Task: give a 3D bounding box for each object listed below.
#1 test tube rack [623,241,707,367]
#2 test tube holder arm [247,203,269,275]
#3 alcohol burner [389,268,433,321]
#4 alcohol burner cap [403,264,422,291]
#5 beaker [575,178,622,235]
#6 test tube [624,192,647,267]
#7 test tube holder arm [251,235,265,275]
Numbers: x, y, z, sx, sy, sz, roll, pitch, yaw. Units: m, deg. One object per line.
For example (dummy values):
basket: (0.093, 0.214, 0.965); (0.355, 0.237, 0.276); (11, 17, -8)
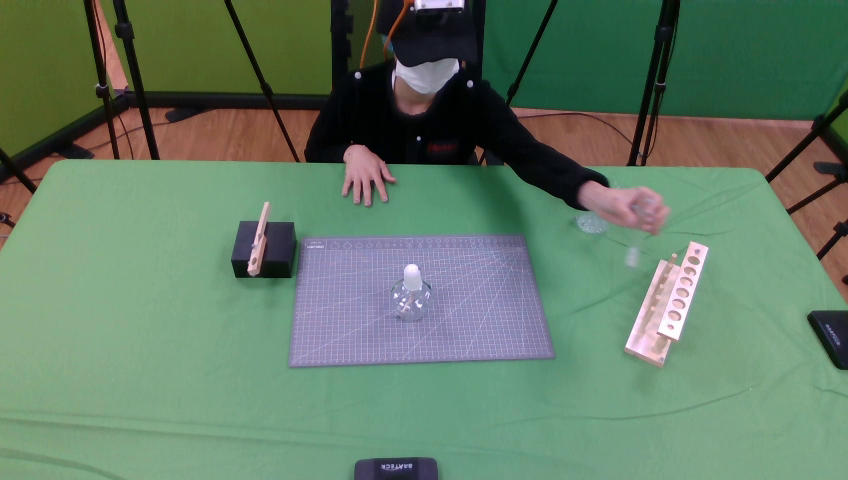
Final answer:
test tube rack: (0.435, 0.104, 1.089); (0.066, 0.085, 0.242); (24, 49, 19)
test tube holder arm: (-0.304, -0.006, 1.116); (0.013, 0.015, 0.177); (-5, 45, 2)
alcohol burner: (-0.022, 0.086, 1.046); (0.078, 0.119, 0.077); (2, 48, -2)
alcohol burner cap: (-0.021, 0.060, 1.021); (0.034, 0.048, 0.033); (-2, 47, 2)
beaker: (0.356, -0.068, 1.239); (0.084, 0.101, 0.073); (-18, 50, -22)
test tube: (0.334, -0.013, 0.957); (0.017, 0.151, 0.017); (-4, 43, 4)
test tube holder arm: (-0.297, 0.025, 1.085); (0.010, 0.015, 0.087); (-5, 45, 2)
